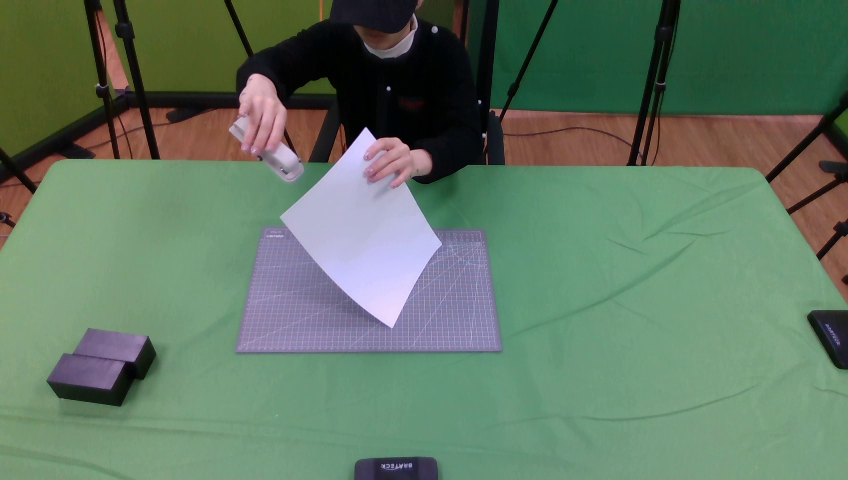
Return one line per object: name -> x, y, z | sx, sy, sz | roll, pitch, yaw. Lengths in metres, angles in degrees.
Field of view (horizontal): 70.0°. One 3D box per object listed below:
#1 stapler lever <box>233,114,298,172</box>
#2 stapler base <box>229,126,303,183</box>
stapler lever -> -0.247, -0.153, 0.949 | 0.118, 0.040, 0.027 | 42, 71, -5
stapler base -> -0.252, -0.148, 0.973 | 0.130, 0.024, 0.041 | 42, 71, -4
